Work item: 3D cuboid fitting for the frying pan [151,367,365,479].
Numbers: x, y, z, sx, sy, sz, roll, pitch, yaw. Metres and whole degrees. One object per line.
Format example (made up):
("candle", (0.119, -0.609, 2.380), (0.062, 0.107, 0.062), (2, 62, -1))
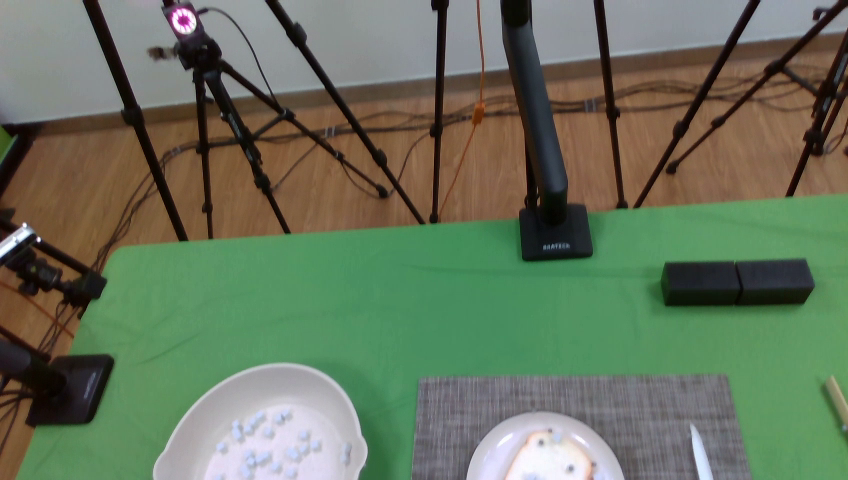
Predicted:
("frying pan", (-0.227, 0.396, 0.781), (0.306, 0.104, 0.483), (-6, 43, 7))

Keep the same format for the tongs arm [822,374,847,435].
("tongs arm", (0.578, 0.337, 0.718), (0.028, 0.028, 0.383), (-9, 52, 1))

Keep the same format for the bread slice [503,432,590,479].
("bread slice", (0.157, 0.324, 0.802), (0.106, 0.018, 0.133), (18, 59, 22))

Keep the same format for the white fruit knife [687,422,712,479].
("white fruit knife", (0.363, 0.332, 0.770), (0.027, 0.016, 0.205), (14, 49, -15))

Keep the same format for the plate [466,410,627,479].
("plate", (0.159, 0.330, 0.796), (0.207, 0.039, 0.205), (-5, 52, 7))
